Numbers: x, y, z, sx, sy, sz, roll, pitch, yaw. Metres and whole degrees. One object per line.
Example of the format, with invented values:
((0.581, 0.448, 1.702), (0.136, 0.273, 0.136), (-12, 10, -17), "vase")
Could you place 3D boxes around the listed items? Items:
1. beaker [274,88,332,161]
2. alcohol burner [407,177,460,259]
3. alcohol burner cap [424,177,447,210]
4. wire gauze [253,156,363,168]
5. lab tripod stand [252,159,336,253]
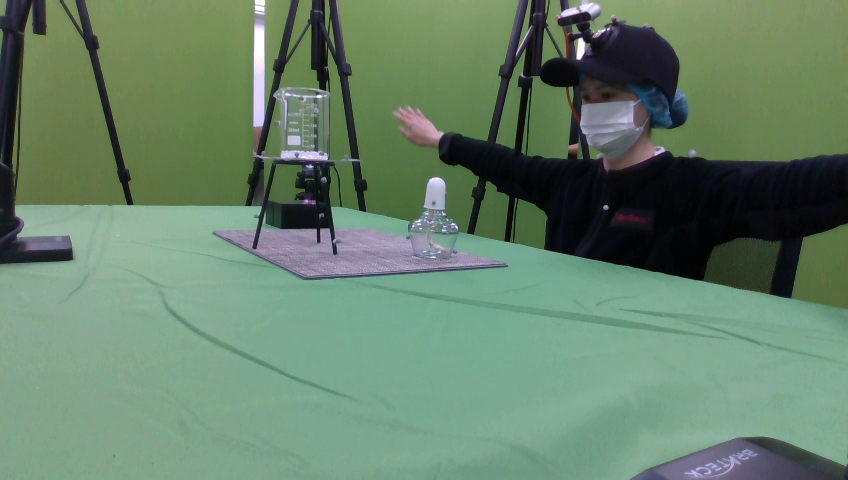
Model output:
((-0.177, -0.165, 0.879), (0.084, 0.100, 0.074), (2, 5, 1), "beaker")
((0.015, -0.032, 0.882), (0.078, 0.119, 0.078), (3, 5, 0), "alcohol burner")
((0.018, -0.067, 0.876), (0.034, 0.048, 0.034), (4, 13, 0), "alcohol burner cap")
((-0.172, -0.117, 0.891), (0.122, 0.011, 0.124), (0, 3, -38), "wire gauze")
((-0.180, -0.053, 0.900), (0.148, 0.131, 0.148), (1, 6, 0), "lab tripod stand")
